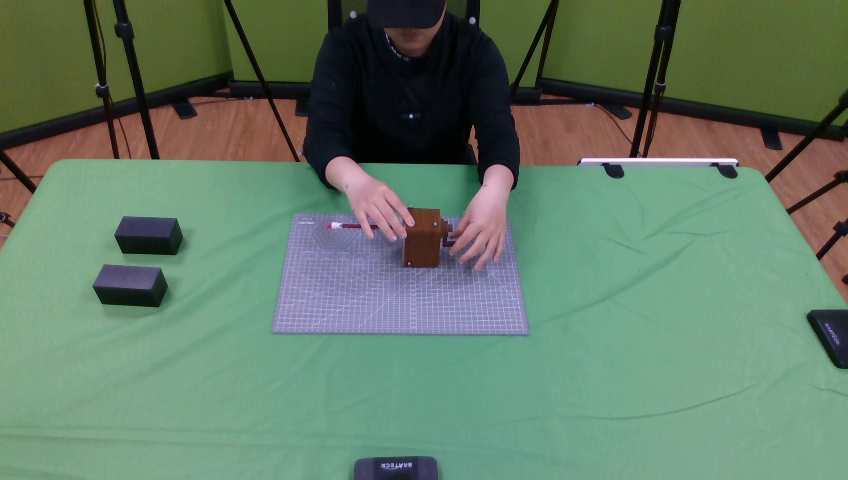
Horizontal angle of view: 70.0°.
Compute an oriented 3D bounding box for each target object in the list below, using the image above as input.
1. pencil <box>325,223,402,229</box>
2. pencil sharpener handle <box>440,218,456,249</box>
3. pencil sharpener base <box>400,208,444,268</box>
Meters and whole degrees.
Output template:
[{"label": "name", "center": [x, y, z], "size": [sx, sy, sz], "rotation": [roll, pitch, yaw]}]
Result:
[{"label": "pencil", "center": [-0.084, -0.024, 1.113], "size": [0.194, 0.012, 0.012], "rotation": [1, 45, -4]}, {"label": "pencil sharpener handle", "center": [0.047, -0.010, 1.131], "size": [0.031, 0.068, 0.036], "rotation": [0, 41, -4]}, {"label": "pencil sharpener base", "center": [-0.005, -0.002, 1.137], "size": [0.077, 0.107, 0.061], "rotation": [0, 46, -5]}]
